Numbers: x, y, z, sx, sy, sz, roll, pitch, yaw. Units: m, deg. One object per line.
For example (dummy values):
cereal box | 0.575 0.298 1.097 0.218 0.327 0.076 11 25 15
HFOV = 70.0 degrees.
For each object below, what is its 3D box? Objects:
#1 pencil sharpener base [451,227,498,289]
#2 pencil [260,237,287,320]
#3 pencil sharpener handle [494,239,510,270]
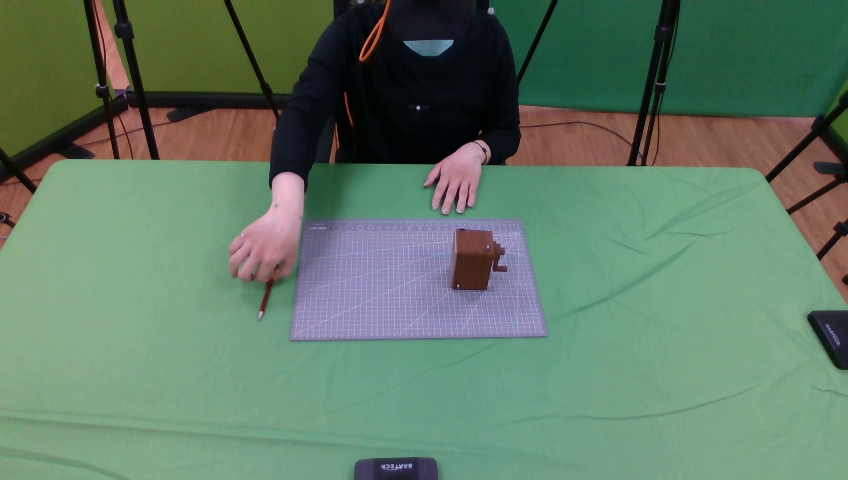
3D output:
pencil sharpener base | 0.091 0.034 1.103 0.077 0.107 0.061 3 46 -1
pencil | -0.279 0.068 1.119 0.012 0.012 0.193 4 48 0
pencil sharpener handle | 0.143 0.029 1.094 0.030 0.068 0.036 3 42 -1
